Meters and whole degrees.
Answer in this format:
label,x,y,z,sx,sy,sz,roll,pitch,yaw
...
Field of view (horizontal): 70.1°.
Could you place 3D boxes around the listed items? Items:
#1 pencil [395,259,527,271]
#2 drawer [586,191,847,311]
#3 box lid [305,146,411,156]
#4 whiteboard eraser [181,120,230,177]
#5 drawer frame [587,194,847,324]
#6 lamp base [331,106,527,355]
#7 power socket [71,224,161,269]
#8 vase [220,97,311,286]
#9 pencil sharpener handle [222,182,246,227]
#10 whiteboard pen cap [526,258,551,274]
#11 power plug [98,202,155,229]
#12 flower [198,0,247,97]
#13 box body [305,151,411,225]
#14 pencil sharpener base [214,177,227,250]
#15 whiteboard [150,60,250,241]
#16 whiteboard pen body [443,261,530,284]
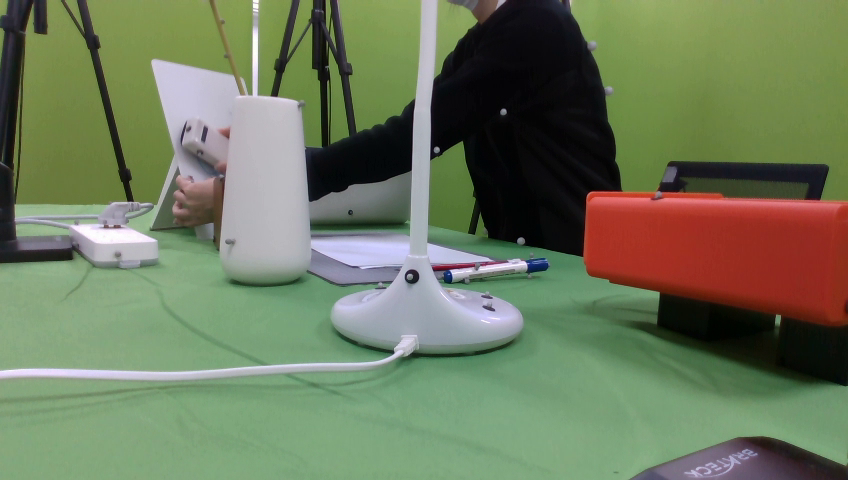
label,x,y,z,sx,sy,sz,roll,pitch,yaw
pencil,0.052,0.034,0.783,0.195,0.012,0.012,-2,9,-25
drawer,0.281,0.001,0.513,0.195,0.073,0.210,-1,7,-29
box lid,-0.229,-0.200,1.360,0.373,0.015,0.262,-3,9,-33
whiteboard eraser,-0.353,-0.148,1.012,0.041,0.055,0.113,-17,-32,24
drawer frame,0.285,0.004,0.508,0.203,0.082,0.212,-1,6,-29
lamp base,0.006,-0.012,0.478,0.161,0.180,0.179,2,10,2
power socket,-0.408,0.004,0.793,0.072,0.032,0.225,-2,8,-38
vase,-0.172,-0.052,0.662,0.098,0.200,0.098,3,9,0
pencil sharpener handle,-0.289,-0.055,0.912,0.036,0.067,0.030,-2,8,-29
whiteboard pen cap,0.141,0.033,0.758,0.033,0.018,0.018,-7,11,-26
power plug,-0.416,-0.026,0.848,0.073,0.052,0.035,0,8,-28
flower,-0.187,-0.133,0.648,0.038,0.362,0.044,-1,21,43
box body,-0.230,-0.126,1.371,0.366,0.160,0.253,-2,8,-33
pencil sharpener base,-0.265,-0.036,0.870,0.061,0.107,0.076,-2,8,-29
whiteboard,-0.408,-0.139,1.093,0.143,0.305,0.218,-15,-1,26
whiteboard pen body,0.087,0.037,0.734,0.141,0.017,0.017,-6,10,-27
